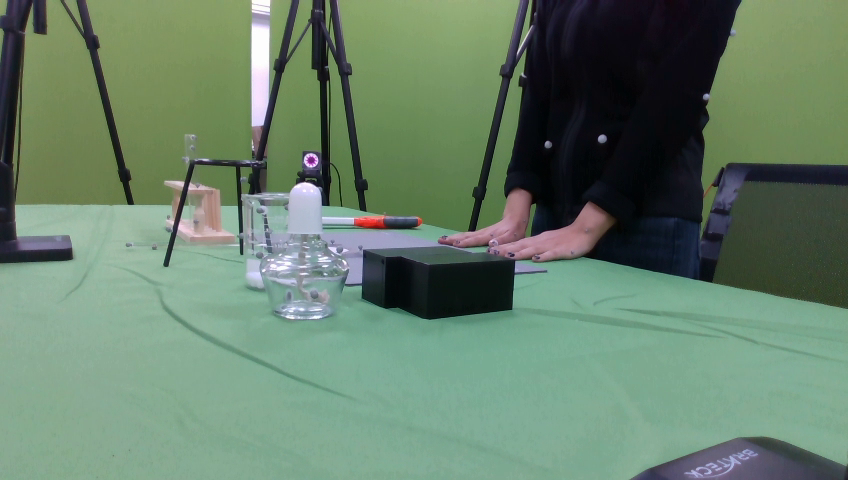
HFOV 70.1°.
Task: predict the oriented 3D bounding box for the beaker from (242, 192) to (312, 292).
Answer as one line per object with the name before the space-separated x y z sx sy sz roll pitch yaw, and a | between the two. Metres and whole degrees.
beaker | -0.157 0.000 0.642 0.084 0.100 0.074 4 7 19

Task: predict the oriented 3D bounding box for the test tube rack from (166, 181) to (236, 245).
test tube rack | -0.383 -0.051 1.024 0.067 0.085 0.241 -2 9 -31

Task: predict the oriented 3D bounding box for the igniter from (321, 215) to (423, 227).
igniter | -0.136 -0.040 1.240 0.278 0.025 0.057 0 -2 -22

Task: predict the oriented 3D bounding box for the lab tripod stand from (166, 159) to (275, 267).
lab tripod stand | -0.249 -0.036 0.764 0.148 0.131 0.148 2 9 0

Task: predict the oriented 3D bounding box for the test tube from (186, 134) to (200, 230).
test tube | -0.360 -0.089 0.946 0.017 0.150 0.017 0 10 0

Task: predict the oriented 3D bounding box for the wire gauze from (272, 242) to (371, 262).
wire gauze | -0.155 0.013 0.878 0.122 0.011 0.124 -3 10 -29

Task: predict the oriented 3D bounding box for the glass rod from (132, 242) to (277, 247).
glass rod | -0.316 0.007 0.885 0.201 0.008 0.008 0 7 -27

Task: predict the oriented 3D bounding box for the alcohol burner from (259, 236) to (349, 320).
alcohol burner | -0.106 0.009 0.532 0.078 0.119 0.078 1 7 0

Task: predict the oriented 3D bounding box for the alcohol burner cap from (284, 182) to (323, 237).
alcohol burner cap | -0.105 -0.027 0.529 0.034 0.048 0.034 2 3 0
